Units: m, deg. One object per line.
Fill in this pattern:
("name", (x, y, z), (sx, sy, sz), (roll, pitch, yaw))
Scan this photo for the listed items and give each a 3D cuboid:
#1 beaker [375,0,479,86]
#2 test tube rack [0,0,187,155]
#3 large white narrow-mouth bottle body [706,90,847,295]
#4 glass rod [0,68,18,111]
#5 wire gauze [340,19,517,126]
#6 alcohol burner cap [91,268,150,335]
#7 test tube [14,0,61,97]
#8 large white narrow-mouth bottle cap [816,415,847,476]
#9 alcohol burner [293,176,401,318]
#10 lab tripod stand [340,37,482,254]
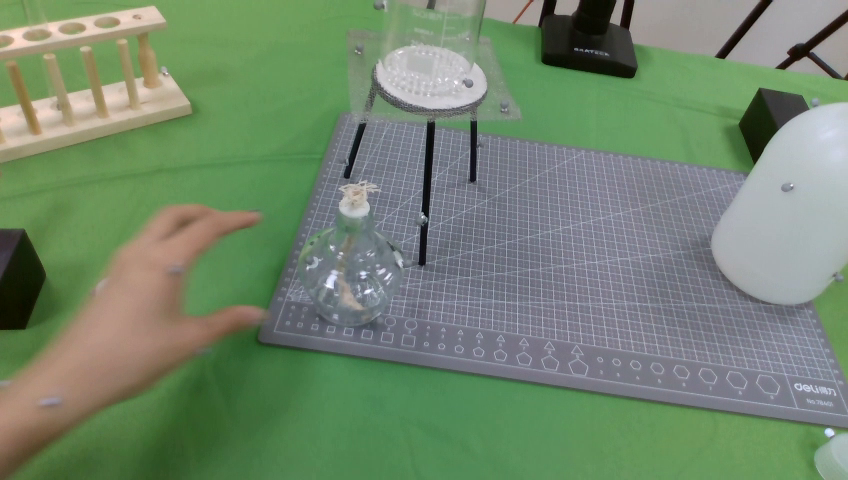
("beaker", (0.000, -0.167, 0.424), (0.084, 0.101, 0.073), (4, 48, -6))
("test tube rack", (-0.350, -0.140, 0.538), (0.243, 0.086, 0.066), (-24, 55, -28))
("large white narrow-mouth bottle body", (0.310, -0.051, 0.480), (0.102, 0.196, 0.101), (4, 46, -4))
("glass rod", (-0.372, -0.194, 0.493), (0.008, 0.201, 0.008), (1, 41, -1))
("wire gauze", (-0.001, -0.131, 0.458), (0.122, 0.011, 0.123), (-3, 52, -9))
("alcohol burner cap", (-0.213, 0.041, 0.421), (0.034, 0.048, 0.033), (6, 47, -6))
("test tube", (-0.339, -0.192, 0.520), (0.017, 0.151, 0.017), (6, 42, -5))
("large white narrow-mouth bottle cap", (0.295, 0.143, 0.420), (0.038, 0.024, 0.037), (4, 46, -4))
("alcohol burner", (-0.053, 0.001, 0.430), (0.078, 0.120, 0.077), (6, 46, -6))
("lab tripod stand", (-0.005, -0.084, 0.503), (0.148, 0.132, 0.147), (6, 48, -6))
